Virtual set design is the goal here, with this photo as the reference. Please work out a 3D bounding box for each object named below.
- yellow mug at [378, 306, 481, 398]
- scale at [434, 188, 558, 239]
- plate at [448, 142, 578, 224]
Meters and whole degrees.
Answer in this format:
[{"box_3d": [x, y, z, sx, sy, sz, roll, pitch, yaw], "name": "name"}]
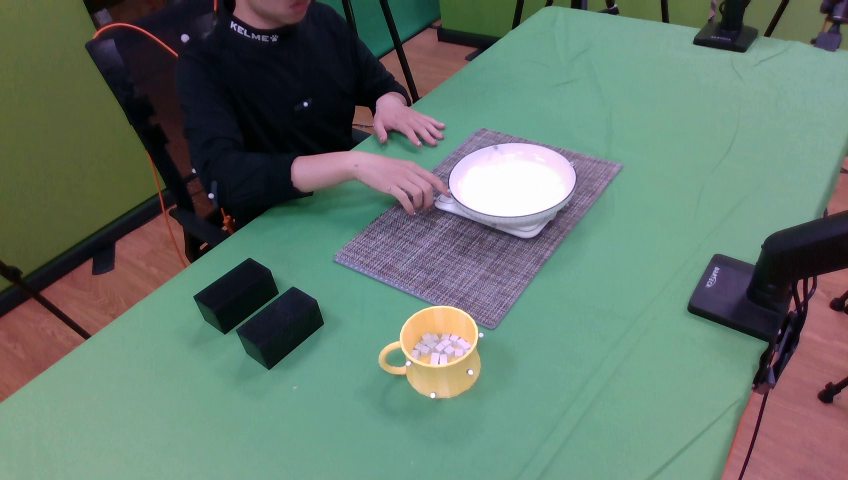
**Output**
[{"box_3d": [0.006, 0.144, 0.767, 0.131, 0.064, 0.099, -10, 40, -2], "name": "yellow mug"}, {"box_3d": [0.132, -0.075, 1.025, 0.199, 0.032, 0.149, 22, 48, 30], "name": "scale"}, {"box_3d": [0.145, -0.089, 0.989, 0.209, 0.038, 0.208, -4, 41, 4], "name": "plate"}]
